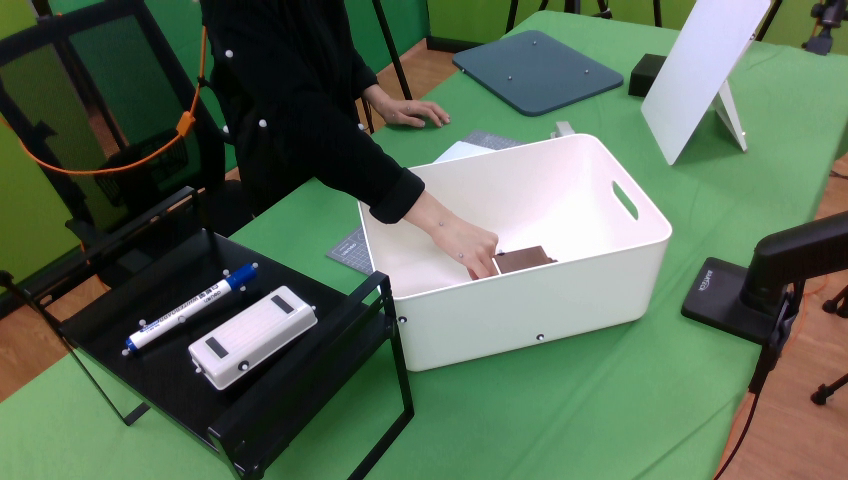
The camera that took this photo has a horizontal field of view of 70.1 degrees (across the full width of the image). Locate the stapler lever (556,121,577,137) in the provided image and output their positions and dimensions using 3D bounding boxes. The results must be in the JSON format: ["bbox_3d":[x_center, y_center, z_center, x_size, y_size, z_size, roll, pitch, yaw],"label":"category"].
[{"bbox_3d":[0.266,-0.198,1.128,0.027,0.040,0.117,0,38,3],"label":"stapler lever"}]

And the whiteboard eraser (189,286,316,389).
[{"bbox_3d":[-0.166,0.096,0.593,0.113,0.042,0.055,-36,47,-29],"label":"whiteboard eraser"}]

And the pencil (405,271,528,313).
[{"bbox_3d":[0.064,0.074,0.878,0.195,0.012,0.012,-16,41,-12],"label":"pencil"}]

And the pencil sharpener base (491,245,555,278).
[{"bbox_3d":[0.134,0.068,0.800,0.077,0.107,0.061,-12,42,-7],"label":"pencil sharpener base"}]

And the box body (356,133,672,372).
[{"bbox_3d":[0.108,0.013,0.834,0.365,0.161,0.252,-12,41,-6],"label":"box body"}]

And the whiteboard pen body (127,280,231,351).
[{"bbox_3d":[-0.248,0.072,0.645,0.141,0.017,0.017,-35,47,-23],"label":"whiteboard pen body"}]

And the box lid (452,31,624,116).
[{"bbox_3d":[0.256,-0.401,1.419,0.264,0.015,0.368,-22,43,-17],"label":"box lid"}]

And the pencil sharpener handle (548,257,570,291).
[{"bbox_3d":[0.182,0.045,0.801,0.031,0.068,0.035,-12,57,-7],"label":"pencil sharpener handle"}]

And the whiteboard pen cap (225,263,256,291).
[{"bbox_3d":[-0.204,0.041,0.668,0.033,0.018,0.018,-36,48,-22],"label":"whiteboard pen cap"}]

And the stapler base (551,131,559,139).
[{"bbox_3d":[0.268,-0.178,1.142,0.041,0.024,0.130,0,37,3],"label":"stapler base"}]

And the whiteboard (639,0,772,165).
[{"bbox_3d":[0.543,-0.298,1.076,0.144,0.305,0.216,12,40,-7],"label":"whiteboard"}]
